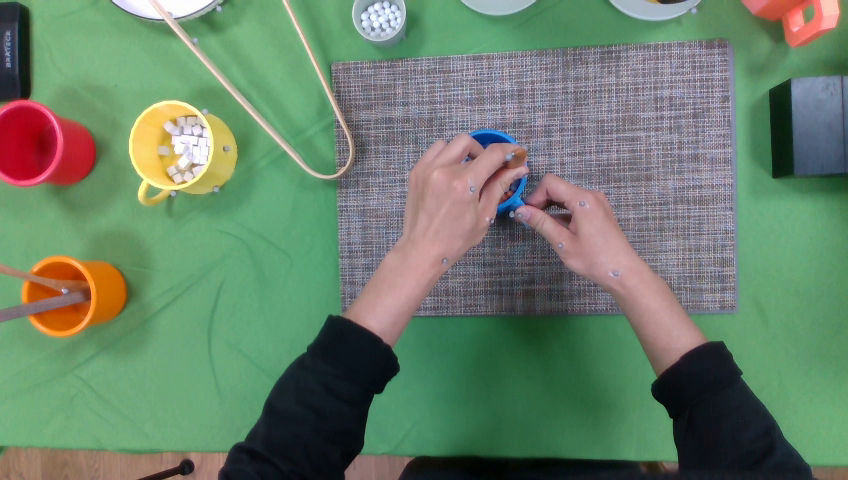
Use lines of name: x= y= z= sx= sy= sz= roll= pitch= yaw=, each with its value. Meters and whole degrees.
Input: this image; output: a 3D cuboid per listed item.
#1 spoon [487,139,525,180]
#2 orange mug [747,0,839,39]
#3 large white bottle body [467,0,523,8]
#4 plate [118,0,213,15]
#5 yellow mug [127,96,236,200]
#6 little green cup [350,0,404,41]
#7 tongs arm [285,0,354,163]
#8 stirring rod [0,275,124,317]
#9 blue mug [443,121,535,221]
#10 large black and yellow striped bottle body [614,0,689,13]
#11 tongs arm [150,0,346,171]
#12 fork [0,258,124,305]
spoon: x=0.083 y=-0.074 z=0.576 sx=0.041 sy=0.193 sz=0.021 roll=-14 pitch=91 yaw=3
orange mug: x=0.386 y=-0.277 z=0.620 sx=0.083 sy=0.101 sz=0.126 roll=-11 pitch=86 yaw=6
large white bottle body: x=0.074 y=-0.328 z=0.605 sx=0.130 sy=0.185 sz=0.130 roll=0 pitch=91 yaw=6
plate: x=-0.300 y=-0.366 z=0.713 sx=0.207 sy=0.039 sz=0.207 roll=0 pitch=92 yaw=6
yellow mug: x=-0.289 y=-0.099 z=0.706 sx=0.100 sy=0.064 sz=0.131 roll=37 pitch=96 yaw=3
little green cup: x=-0.052 y=-0.259 z=0.692 sx=0.061 sy=0.038 sz=0.061 roll=0 pitch=92 yaw=5
tongs arm: x=-0.165 y=-0.268 z=0.686 sx=0.028 sy=0.027 sz=0.388 roll=-26 pitch=96 yaw=-3
stirring rod: x=-0.436 y=0.069 z=0.688 sx=0.177 sy=0.006 sz=0.014 roll=-16 pitch=85 yaw=-36
blue mug: x=0.077 y=-0.064 z=0.648 sx=0.082 sy=0.106 sz=0.116 roll=-44 pitch=87 yaw=5
large black and yellow striped bottle body: x=0.245 y=-0.316 z=0.590 sx=0.130 sy=0.184 sz=0.130 roll=0 pitch=91 yaw=6
tongs arm: x=-0.234 y=-0.220 z=0.691 sx=0.051 sy=0.026 sz=0.385 roll=-40 pitch=95 yaw=2
fork: x=-0.446 y=0.034 z=0.682 sx=0.209 sy=0.018 sz=0.028 roll=26 pitch=89 yaw=-39
